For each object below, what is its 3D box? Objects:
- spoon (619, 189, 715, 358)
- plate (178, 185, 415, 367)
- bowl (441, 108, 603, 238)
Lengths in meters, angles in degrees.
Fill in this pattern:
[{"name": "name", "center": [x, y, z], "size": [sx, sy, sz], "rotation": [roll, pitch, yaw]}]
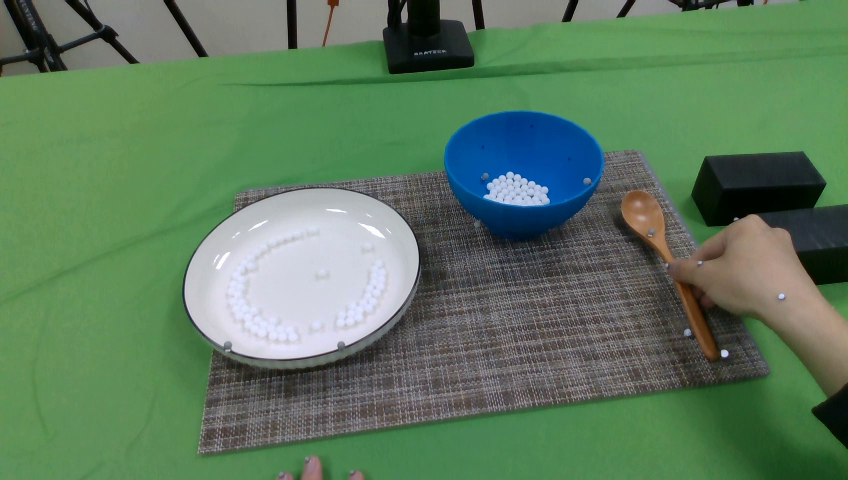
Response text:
[{"name": "spoon", "center": [0.221, 0.023, 0.551], "size": [0.042, 0.022, 0.191], "rotation": [-2, 45, -5]}, {"name": "plate", "center": [-0.111, 0.031, 0.549], "size": [0.208, 0.039, 0.205], "rotation": [-1, 46, 1]}, {"name": "bowl", "center": [0.092, -0.055, 0.595], "size": [0.151, 0.077, 0.150], "rotation": [-1, 46, 1]}]
